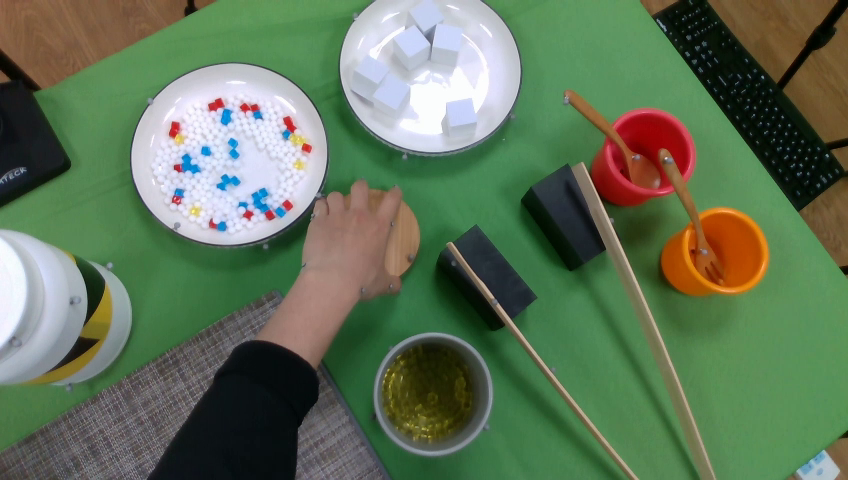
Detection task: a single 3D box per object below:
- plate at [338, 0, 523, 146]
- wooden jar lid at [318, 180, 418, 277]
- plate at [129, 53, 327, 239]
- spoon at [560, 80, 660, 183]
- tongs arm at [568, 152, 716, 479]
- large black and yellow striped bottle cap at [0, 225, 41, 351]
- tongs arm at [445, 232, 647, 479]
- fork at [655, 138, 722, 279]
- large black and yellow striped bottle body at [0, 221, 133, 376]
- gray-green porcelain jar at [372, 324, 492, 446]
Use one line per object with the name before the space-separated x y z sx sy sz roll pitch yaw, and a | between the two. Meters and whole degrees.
plate | 0.008 -0.203 0.696 0.208 0.039 0.206 1 79 -3
wooden jar lid | -0.060 -0.012 0.664 0.108 0.021 0.108 1 80 -4
plate | -0.209 -0.101 0.662 0.209 0.038 0.208 1 79 -4
spoon | 0.200 -0.115 0.638 0.196 0.021 0.041 31 71 -41
tongs arm | 0.226 0.091 0.629 0.028 0.027 0.387 -23 91 -16
large black and yellow striped bottle cap | -0.359 0.038 0.464 0.115 0.019 0.114 1 80 -5
tongs arm | 0.155 0.135 0.614 0.051 0.026 0.385 -37 94 -12
fork | 0.274 -0.028 0.624 0.028 0.018 0.209 -41 128 -2
large black and yellow striped bottle body | -0.364 0.057 0.546 0.131 0.184 0.130 1 78 -3
gray-green porcelain jar | 0.004 0.137 0.585 0.106 0.127 0.105 1 79 -4
